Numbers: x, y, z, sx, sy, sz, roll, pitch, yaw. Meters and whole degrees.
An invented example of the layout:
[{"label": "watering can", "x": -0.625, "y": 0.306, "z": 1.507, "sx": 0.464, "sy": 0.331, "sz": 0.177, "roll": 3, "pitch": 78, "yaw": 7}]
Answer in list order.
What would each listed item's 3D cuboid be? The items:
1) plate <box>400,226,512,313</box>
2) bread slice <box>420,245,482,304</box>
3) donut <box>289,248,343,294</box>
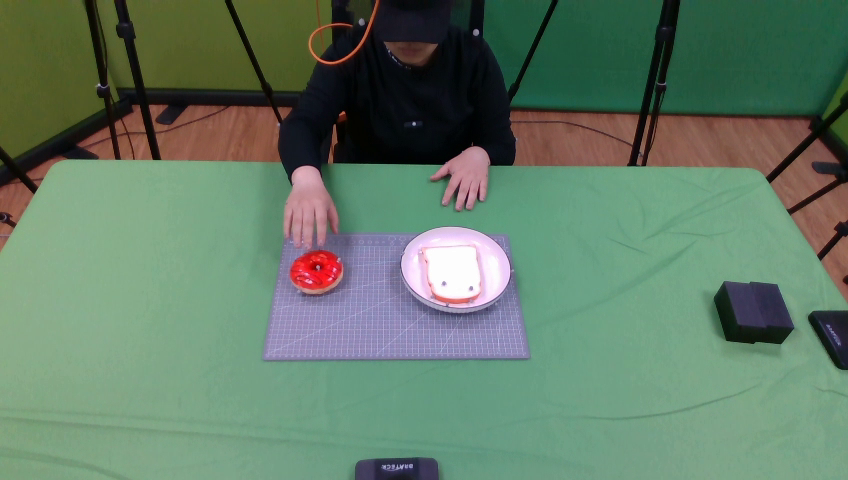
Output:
[{"label": "plate", "x": 0.057, "y": 0.057, "z": 1.134, "sx": 0.209, "sy": 0.038, "sz": 0.208, "roll": 2, "pitch": 46, "yaw": -2}, {"label": "bread slice", "x": 0.056, "y": 0.062, "z": 1.131, "sx": 0.107, "sy": 0.018, "sz": 0.133, "roll": -6, "pitch": 46, "yaw": -8}, {"label": "donut", "x": -0.197, "y": 0.056, "z": 1.111, "sx": 0.099, "sy": 0.048, "sz": 0.098, "roll": 1, "pitch": 45, "yaw": -1}]
